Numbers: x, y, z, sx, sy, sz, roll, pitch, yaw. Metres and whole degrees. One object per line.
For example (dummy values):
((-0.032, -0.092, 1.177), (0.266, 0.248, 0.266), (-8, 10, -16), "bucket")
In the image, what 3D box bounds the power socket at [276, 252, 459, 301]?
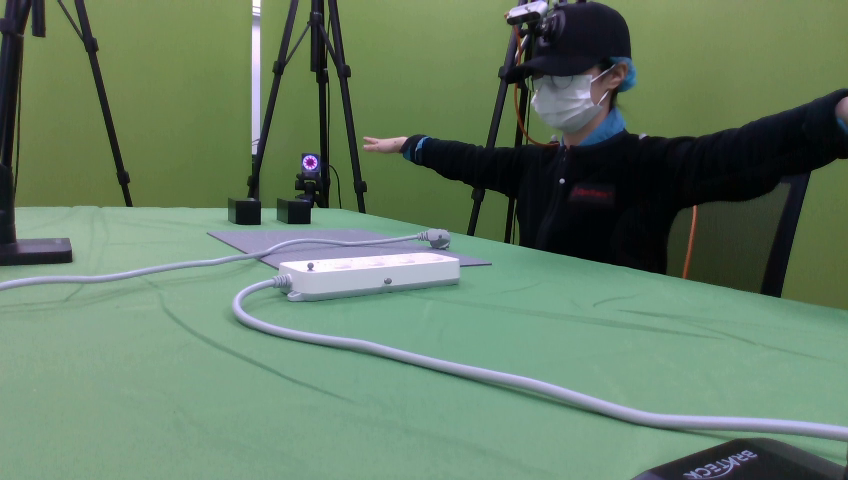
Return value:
((-0.056, 0.037, 0.674), (0.228, 0.032, 0.072), (-3, 8, -38), "power socket")

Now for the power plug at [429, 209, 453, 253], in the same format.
((0.024, -0.014, 0.983), (0.035, 0.072, 0.053), (16, 53, 20), "power plug")
